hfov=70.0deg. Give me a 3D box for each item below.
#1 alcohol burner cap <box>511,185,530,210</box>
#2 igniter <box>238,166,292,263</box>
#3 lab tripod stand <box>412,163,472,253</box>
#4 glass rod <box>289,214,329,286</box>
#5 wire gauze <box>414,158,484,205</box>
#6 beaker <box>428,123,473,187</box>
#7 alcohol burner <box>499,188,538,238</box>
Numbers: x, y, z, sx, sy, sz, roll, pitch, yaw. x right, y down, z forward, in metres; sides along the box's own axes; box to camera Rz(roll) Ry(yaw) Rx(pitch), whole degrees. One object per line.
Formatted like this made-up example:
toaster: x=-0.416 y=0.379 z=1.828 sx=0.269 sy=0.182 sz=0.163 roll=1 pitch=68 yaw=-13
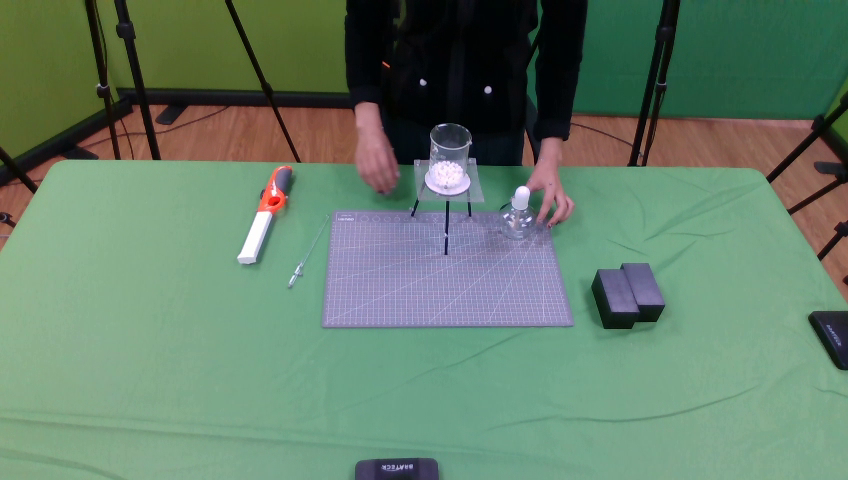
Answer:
alcohol burner cap: x=0.190 y=-0.086 z=1.176 sx=0.034 sy=0.048 sz=0.033 roll=3 pitch=50 yaw=-3
igniter: x=-0.318 y=-0.060 z=1.229 sx=0.057 sy=0.025 sz=0.275 roll=-2 pitch=45 yaw=10
lab tripod stand: x=0.043 y=-0.070 z=1.187 sx=0.148 sy=0.132 sz=0.147 roll=3 pitch=47 yaw=-3
glass rod: x=-0.221 y=0.014 z=1.179 sx=0.008 sy=0.008 sz=0.199 roll=12 pitch=46 yaw=8
wire gauze: x=0.045 y=-0.113 z=1.137 sx=0.125 sy=0.011 sz=0.120 roll=1 pitch=48 yaw=-6
beaker: x=0.044 y=-0.154 z=1.109 sx=0.074 sy=0.101 sz=0.083 roll=-25 pitch=54 yaw=-25
alcohol burner: x=0.189 y=-0.060 z=1.202 sx=0.078 sy=0.120 sz=0.077 roll=2 pitch=48 yaw=-2
